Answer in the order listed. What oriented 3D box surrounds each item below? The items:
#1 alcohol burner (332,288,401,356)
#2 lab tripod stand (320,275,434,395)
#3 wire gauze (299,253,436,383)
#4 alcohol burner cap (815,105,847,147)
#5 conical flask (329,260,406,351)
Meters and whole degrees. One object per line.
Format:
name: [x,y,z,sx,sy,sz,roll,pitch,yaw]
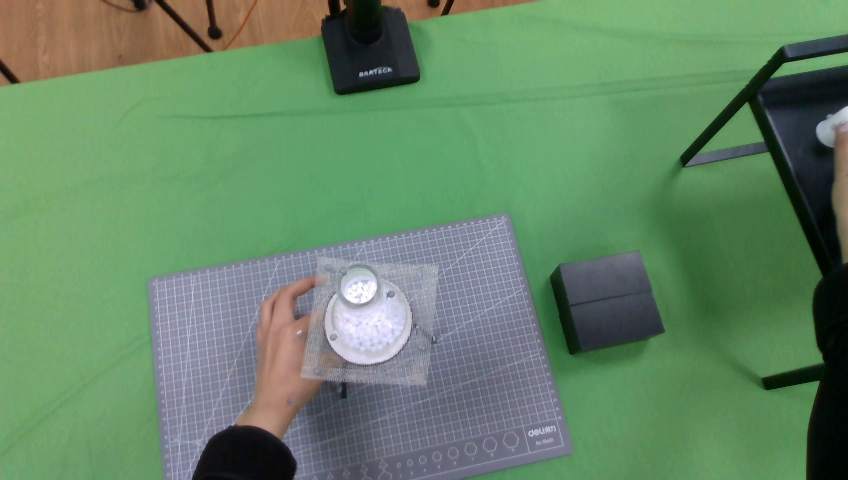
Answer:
alcohol burner: [-0.065,0.088,0.668,0.078,0.119,0.077,1,73,-2]
lab tripod stand: [-0.062,0.095,0.656,0.148,0.132,0.147,0,72,0]
wire gauze: [-0.053,0.075,0.593,0.121,0.011,0.124,6,69,-2]
alcohol burner cap: [0.425,-0.118,0.611,0.034,0.048,0.033,1,71,-3]
conical flask: [-0.054,0.053,0.538,0.075,0.122,0.075,1,71,-1]
